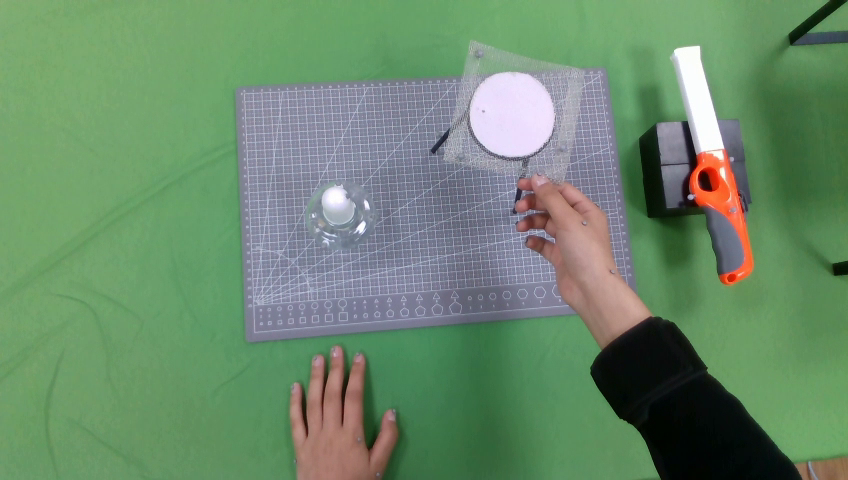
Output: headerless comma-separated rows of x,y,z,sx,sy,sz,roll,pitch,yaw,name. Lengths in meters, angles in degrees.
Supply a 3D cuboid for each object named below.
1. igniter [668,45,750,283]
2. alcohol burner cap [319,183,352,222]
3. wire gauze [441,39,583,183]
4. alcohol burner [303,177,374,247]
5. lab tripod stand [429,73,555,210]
0.319,-0.089,0.680,0.057,0.025,0.275,-8,79,-3,igniter
-0.091,-0.041,0.609,0.034,0.048,0.033,1,73,-4,alcohol burner cap
0.089,-0.126,0.592,0.122,0.011,0.125,13,83,-6,wire gauze
-0.092,-0.033,0.644,0.078,0.119,0.077,0,82,-3,alcohol burner
0.083,-0.116,0.659,0.148,0.132,0.147,1,79,-3,lab tripod stand
